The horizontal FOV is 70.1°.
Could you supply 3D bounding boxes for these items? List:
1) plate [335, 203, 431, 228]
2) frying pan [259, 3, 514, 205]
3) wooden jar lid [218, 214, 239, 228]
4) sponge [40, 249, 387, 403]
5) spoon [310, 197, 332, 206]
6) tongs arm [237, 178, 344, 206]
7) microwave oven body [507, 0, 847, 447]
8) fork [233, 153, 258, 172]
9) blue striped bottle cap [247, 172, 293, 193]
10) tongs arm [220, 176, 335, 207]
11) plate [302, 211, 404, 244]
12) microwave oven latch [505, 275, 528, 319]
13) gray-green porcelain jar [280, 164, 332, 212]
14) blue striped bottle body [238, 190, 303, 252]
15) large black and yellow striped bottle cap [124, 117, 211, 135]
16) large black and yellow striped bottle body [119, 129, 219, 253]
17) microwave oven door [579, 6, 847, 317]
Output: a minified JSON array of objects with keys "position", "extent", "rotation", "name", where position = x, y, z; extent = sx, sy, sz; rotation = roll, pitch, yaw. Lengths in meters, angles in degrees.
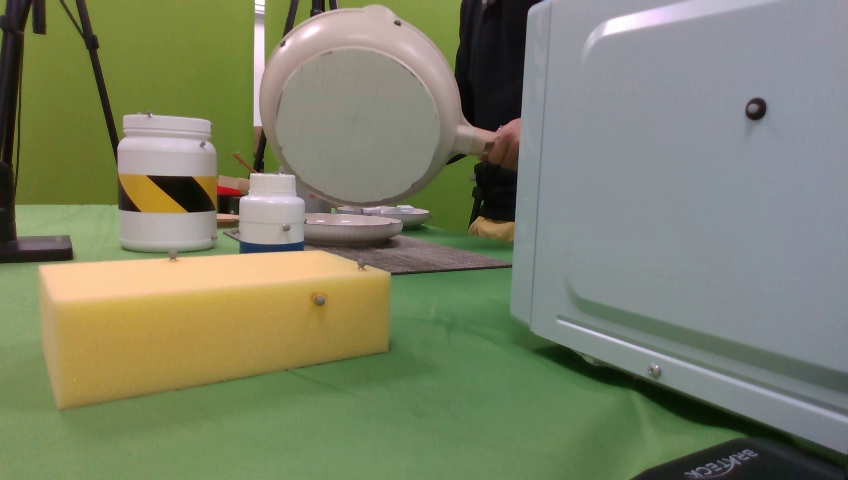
[{"position":[-0.089,-0.053,1.309],"extent":[0.208,0.039,0.207],"rotation":[2,8,0],"name":"plate"},{"position":[0.009,-0.162,0.882],"extent":[0.490,0.306,0.102],"rotation":[5,33,-14],"name":"frying pan"},{"position":[-0.404,-0.037,1.169],"extent":[0.108,0.020,0.108],"rotation":[3,7,0],"name":"wooden jar lid"},{"position":[-0.142,0.047,0.420],"extent":[0.208,0.061,0.117],"rotation":[-3,8,-36],"name":"sponge"},{"position":[-0.149,-0.107,1.121],"extent":[0.041,0.021,0.194],"rotation":[-13,24,33],"name":"spoon"},{"position":[-0.241,-0.095,1.373],"extent":[0.387,0.026,0.050],"rotation":[9,0,-37],"name":"tongs arm"},{"position":[0.331,-0.042,0.425],"extent":[0.444,0.260,0.324],"rotation":[-2,8,-31],"name":"microwave oven body"},{"position":[-0.396,-0.143,1.486],"extent":[0.028,0.018,0.208],"rotation":[21,-25,45],"name":"fork"},{"position":[-0.152,-0.057,0.598],"extent":[0.044,0.020,0.044],"rotation":[3,6,0],"name":"blue striped bottle cap"},{"position":[-0.285,-0.104,1.445],"extent":[0.389,0.027,0.028],"rotation":[9,-4,-23],"name":"tongs arm"},{"position":[-0.139,-0.022,1.021],"extent":[0.209,0.038,0.209],"rotation":[2,8,0],"name":"plate"},{"position":[0.100,0.041,0.471],"extent":[0.079,0.029,0.030],"rotation":[-2,8,-29],"name":"microwave oven latch"},{"position":[-0.238,-0.092,1.221],"extent":[0.106,0.126,0.106],"rotation":[2,7,0],"name":"gray-green porcelain jar"},{"position":[-0.153,-0.007,0.605],"extent":[0.063,0.120,0.063],"rotation":[2,8,0],"name":"blue striped bottle body"},{"position":[-0.366,-0.163,0.866],"extent":[0.115,0.019,0.115],"rotation":[3,7,0],"name":"large black and yellow striped bottle cap"},{"position":[-0.368,-0.080,0.876],"extent":[0.131,0.184,0.130],"rotation":[2,7,0],"name":"large black and yellow striped bottle body"},{"position":[0.294,-0.067,0.570],"extent":[0.358,0.243,0.039],"rotation":[-3,9,-31],"name":"microwave oven door"}]
